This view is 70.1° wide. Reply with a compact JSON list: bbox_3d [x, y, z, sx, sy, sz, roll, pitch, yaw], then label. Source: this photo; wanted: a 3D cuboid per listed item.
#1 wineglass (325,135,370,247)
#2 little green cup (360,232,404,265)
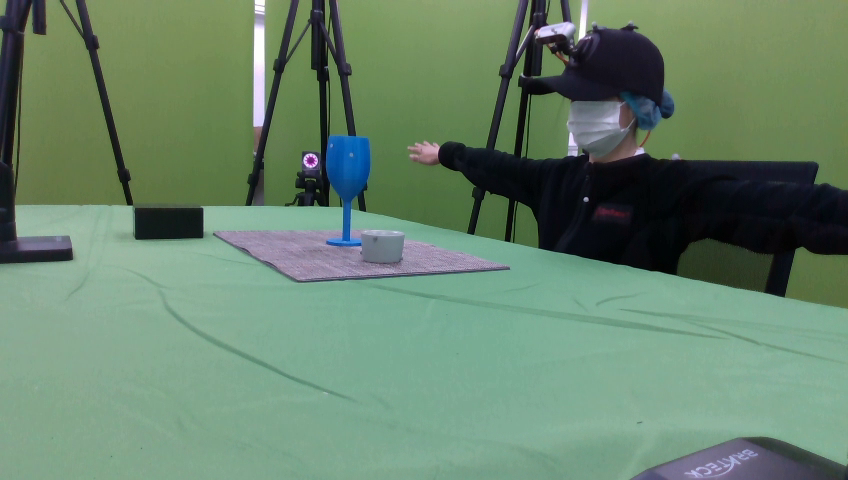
[{"bbox_3d":[-0.124,-0.078,0.964,0.074,0.172,0.073,3,7,0],"label":"wineglass"},{"bbox_3d":[-0.058,0.011,0.821,0.061,0.038,0.061,2,8,0],"label":"little green cup"}]
